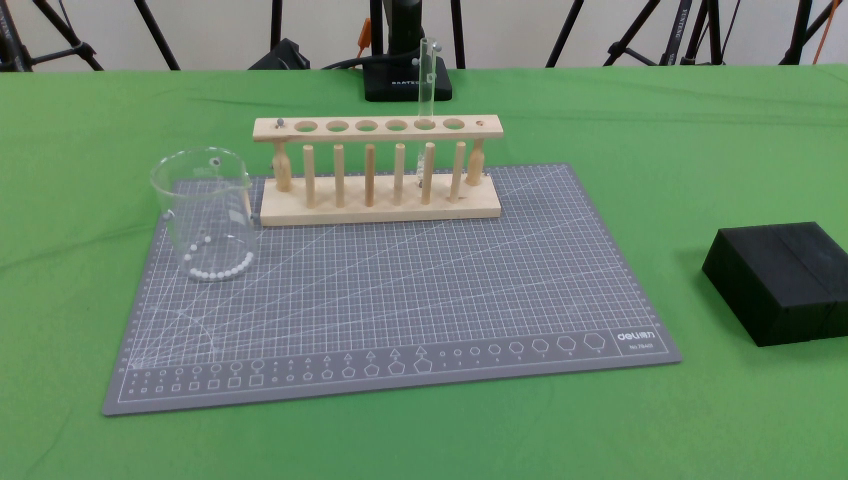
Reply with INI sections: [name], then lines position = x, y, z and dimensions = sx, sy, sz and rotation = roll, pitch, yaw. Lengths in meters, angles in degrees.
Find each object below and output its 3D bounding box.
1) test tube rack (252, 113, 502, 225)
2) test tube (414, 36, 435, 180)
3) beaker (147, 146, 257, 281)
[test tube rack]
position = -0.044, -0.073, 0.613
dimensions = 0.243, 0.086, 0.066
rotation = -2, 41, -7
[test tube]
position = 0.000, -0.126, 0.601
dimensions = 0.017, 0.151, 0.017
rotation = 2, 37, -1
[beaker]
position = -0.186, -0.020, 0.531
dimensions = 0.084, 0.101, 0.073
rotation = 10, 41, 7
